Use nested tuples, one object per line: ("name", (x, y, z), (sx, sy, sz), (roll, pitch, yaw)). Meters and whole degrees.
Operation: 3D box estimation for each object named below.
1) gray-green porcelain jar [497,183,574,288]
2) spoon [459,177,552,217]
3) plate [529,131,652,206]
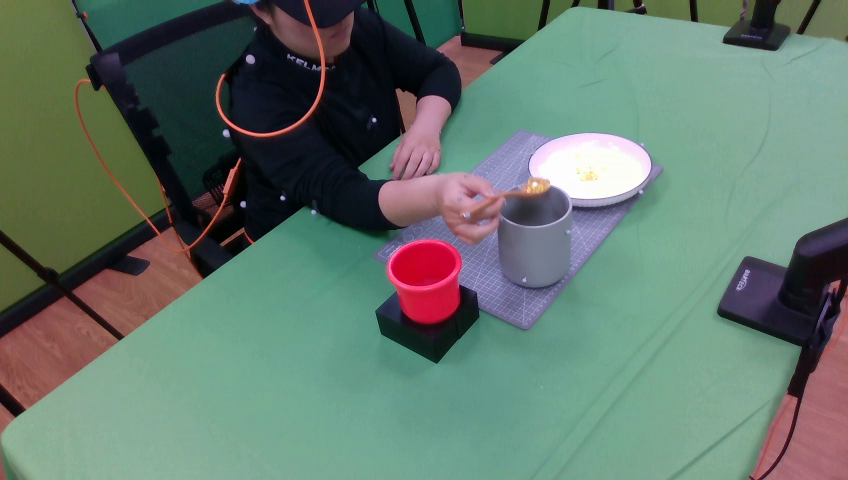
("gray-green porcelain jar", (0.160, -0.003, 0.870), (0.106, 0.127, 0.105), (-5, 40, 5))
("spoon", (0.105, -0.057, 0.778), (0.041, 0.021, 0.195), (15, 22, 39))
("plate", (0.287, -0.121, 1.056), (0.207, 0.039, 0.206), (-5, 40, 5))
